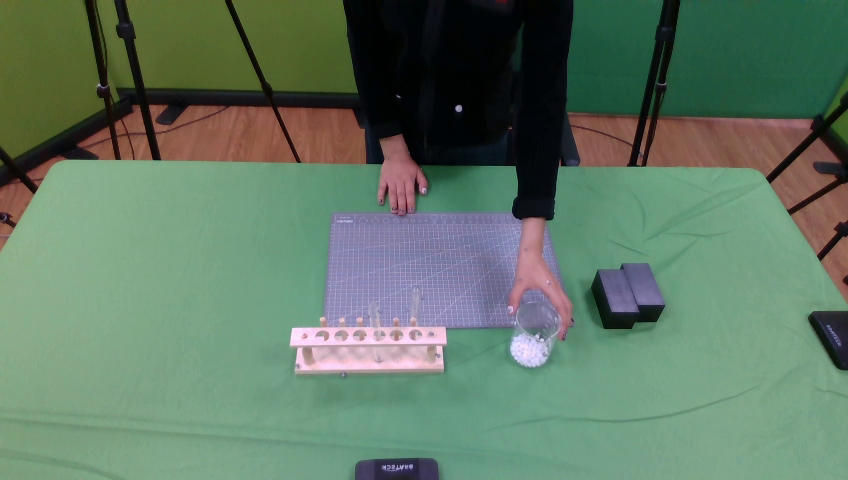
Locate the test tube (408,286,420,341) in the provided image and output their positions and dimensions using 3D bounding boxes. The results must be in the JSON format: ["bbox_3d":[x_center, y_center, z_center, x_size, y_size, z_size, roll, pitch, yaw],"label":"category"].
[{"bbox_3d":[-0.017,0.123,0.974,0.017,0.151,0.017,2,48,-2],"label":"test tube"}]

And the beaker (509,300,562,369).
[{"bbox_3d":[0.182,0.162,1.005,0.074,0.101,0.083,-4,47,-7],"label":"beaker"}]

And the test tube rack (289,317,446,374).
[{"bbox_3d":[-0.089,0.167,0.988,0.242,0.085,0.066,0,46,-4],"label":"test tube rack"}]

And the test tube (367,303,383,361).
[{"bbox_3d":[-0.075,0.146,0.941,0.017,0.151,0.017,0,49,0],"label":"test tube"}]
